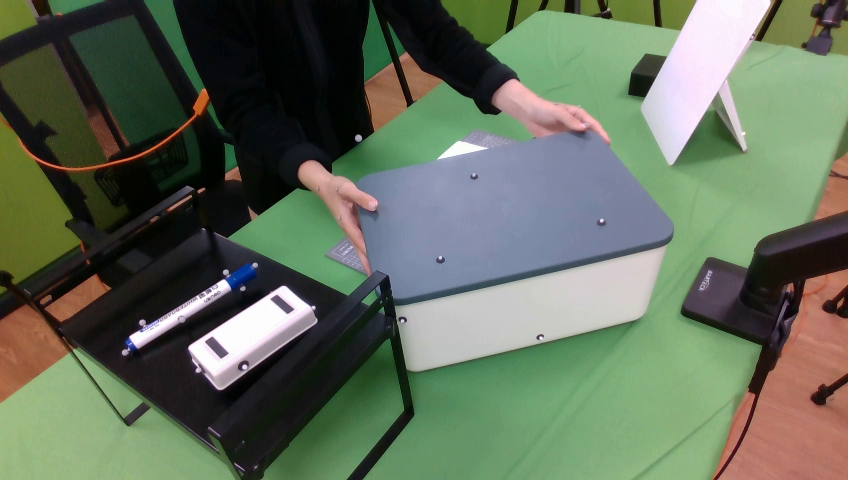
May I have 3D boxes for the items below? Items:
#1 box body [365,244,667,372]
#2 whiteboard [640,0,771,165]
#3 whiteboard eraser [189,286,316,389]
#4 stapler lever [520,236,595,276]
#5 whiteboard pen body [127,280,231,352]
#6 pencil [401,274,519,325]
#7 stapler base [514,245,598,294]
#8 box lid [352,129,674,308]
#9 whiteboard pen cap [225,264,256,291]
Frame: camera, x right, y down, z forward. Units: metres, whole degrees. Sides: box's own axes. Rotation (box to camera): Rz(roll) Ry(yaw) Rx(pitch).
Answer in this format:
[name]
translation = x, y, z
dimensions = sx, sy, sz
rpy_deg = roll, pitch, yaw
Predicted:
[box body]
translation = 0.108, 0.013, 0.834
dimensions = 0.365, 0.161, 0.252
rpy_deg = -12, 41, -6
[whiteboard]
translation = 0.543, -0.298, 1.076
dimensions = 0.144, 0.305, 0.216
rpy_deg = 12, 40, -7
[whiteboard eraser]
translation = -0.166, 0.096, 0.593
dimensions = 0.113, 0.042, 0.055
rpy_deg = -36, 47, -29
[stapler lever]
translation = 0.193, 0.018, 0.874
dimensions = 0.118, 0.040, 0.026
rpy_deg = -21, 45, -17
[whiteboard pen body]
translation = -0.248, 0.072, 0.645
dimensions = 0.141, 0.017, 0.017
rpy_deg = -35, 47, -23
[pencil]
translation = 0.056, 0.082, 0.872
dimensions = 0.195, 0.012, 0.012
rpy_deg = -20, 42, -20
[stapler base]
translation = 0.194, 0.038, 0.891
dimensions = 0.131, 0.024, 0.041
rpy_deg = -22, 45, -16
[box lid]
translation = 0.102, -0.043, 0.785
dimensions = 0.372, 0.015, 0.261
rpy_deg = -13, 42, -6
[whiteboard pen cap]
translation = -0.204, 0.041, 0.668
dimensions = 0.033, 0.018, 0.018
rpy_deg = -36, 48, -22
